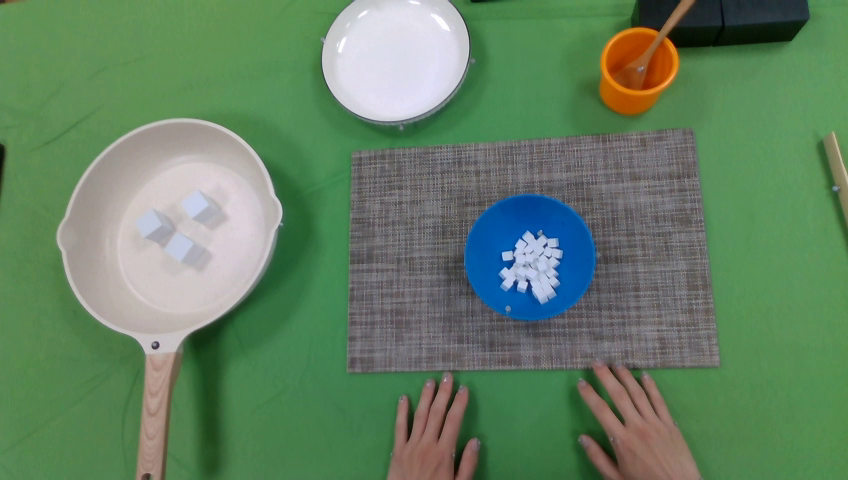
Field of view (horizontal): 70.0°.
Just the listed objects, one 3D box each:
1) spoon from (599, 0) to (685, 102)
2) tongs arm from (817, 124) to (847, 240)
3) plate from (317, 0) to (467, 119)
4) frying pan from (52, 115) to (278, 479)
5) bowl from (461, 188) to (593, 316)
[{"bbox_3d":[0.280,-0.250,0.735,0.022,0.194,0.041,-24,65,-44],"label":"spoon"},{"bbox_3d":[0.524,0.045,0.700,0.028,0.028,0.385,-11,77,3],"label":"tongs arm"},{"bbox_3d":[-0.042,-0.260,0.838,0.207,0.039,0.206,-2,78,8],"label":"plate"},{"bbox_3d":[-0.327,0.078,0.767,0.306,0.103,0.484,-5,69,7],"label":"frying pan"},{"bbox_3d":[0.122,0.020,0.729,0.151,0.077,0.150,-2,77,7],"label":"bowl"}]
